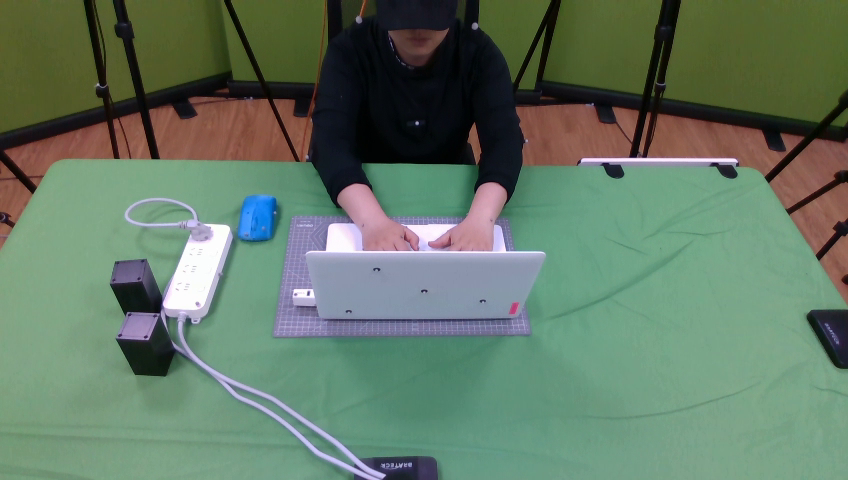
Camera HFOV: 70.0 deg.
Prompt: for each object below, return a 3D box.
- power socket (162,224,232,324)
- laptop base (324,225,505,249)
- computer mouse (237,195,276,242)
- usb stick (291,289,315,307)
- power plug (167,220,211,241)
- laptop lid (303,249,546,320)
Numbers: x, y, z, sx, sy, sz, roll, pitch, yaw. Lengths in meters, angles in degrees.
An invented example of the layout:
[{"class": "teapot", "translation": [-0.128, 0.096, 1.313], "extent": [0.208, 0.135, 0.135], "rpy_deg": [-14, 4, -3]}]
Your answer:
[{"class": "power socket", "translation": [-0.410, 0.053, 1.106], "extent": [0.072, 0.033, 0.225], "rpy_deg": [3, 45, -1]}, {"class": "laptop base", "translation": [-0.014, 0.056, 1.144], "extent": [0.355, 0.023, 0.234], "rpy_deg": [0, 42, -4]}, {"class": "computer mouse", "translation": [-0.333, -0.047, 1.207], "extent": [0.063, 0.041, 0.116], "rpy_deg": [3, 50, -5]}, {"class": "usb stick", "translation": [-0.203, 0.102, 1.066], "extent": [0.059, 0.027, 0.021], "rpy_deg": [4, 45, -5]}, {"class": "power plug", "translation": [-0.438, -0.016, 1.143], "extent": [0.072, 0.053, 0.035], "rpy_deg": [9, 42, 6]}, {"class": "laptop lid", "translation": [-0.002, 0.077, 0.962], "extent": [0.357, 0.242, 0.013], "rpy_deg": [1, 58, -5]}]
